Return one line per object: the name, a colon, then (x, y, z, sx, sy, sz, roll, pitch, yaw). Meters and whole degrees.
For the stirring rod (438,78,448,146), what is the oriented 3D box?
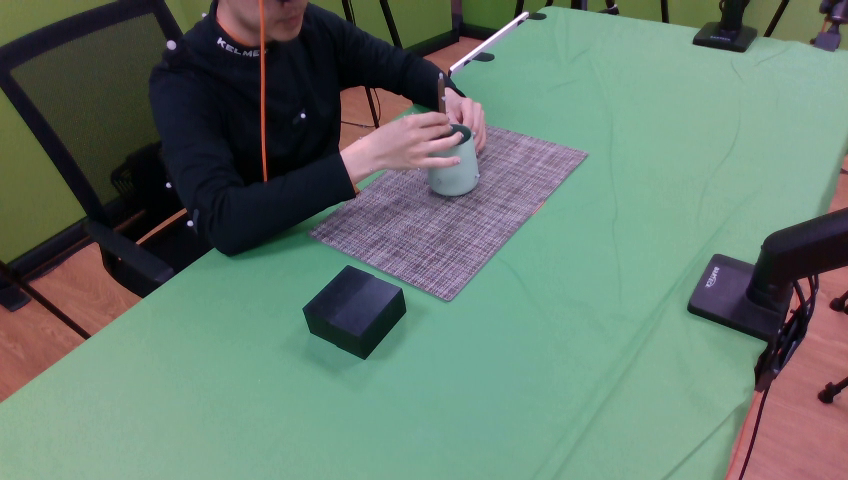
stirring rod: (0.033, -0.185, 1.003, 0.006, 0.177, 0.014, 18, 44, 27)

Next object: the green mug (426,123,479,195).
green mug: (0.053, -0.151, 1.067, 0.092, 0.105, 0.125, 5, 42, 14)
